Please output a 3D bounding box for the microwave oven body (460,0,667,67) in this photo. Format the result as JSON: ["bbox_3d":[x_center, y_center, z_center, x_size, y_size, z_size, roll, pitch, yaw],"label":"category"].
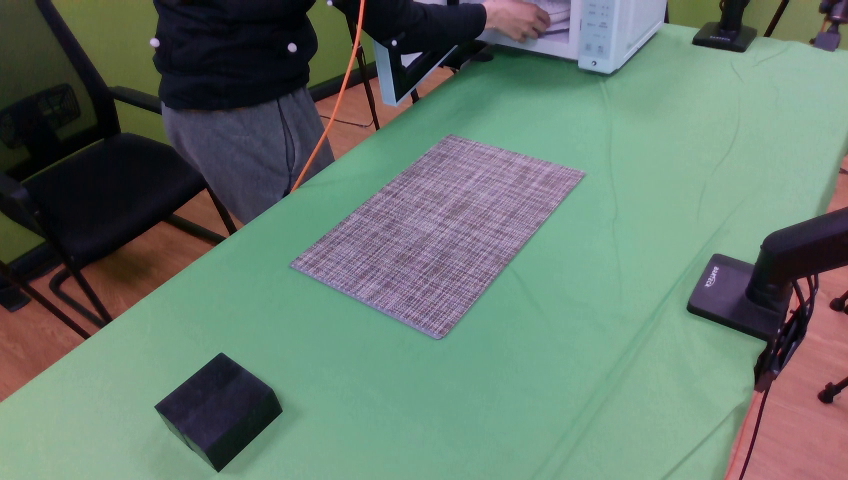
[{"bbox_3d":[0.324,-0.609,1.437,0.438,0.261,0.327,22,50,31],"label":"microwave oven body"}]

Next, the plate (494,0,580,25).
[{"bbox_3d":[0.277,-0.575,1.485,0.209,0.038,0.208,-4,42,4],"label":"plate"}]

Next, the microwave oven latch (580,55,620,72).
[{"bbox_3d":[0.386,-0.393,1.330,0.078,0.029,0.030,25,51,32],"label":"microwave oven latch"}]

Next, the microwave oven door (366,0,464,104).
[{"bbox_3d":[-0.008,-0.497,1.348,0.039,0.245,0.356,15,46,24],"label":"microwave oven door"}]
